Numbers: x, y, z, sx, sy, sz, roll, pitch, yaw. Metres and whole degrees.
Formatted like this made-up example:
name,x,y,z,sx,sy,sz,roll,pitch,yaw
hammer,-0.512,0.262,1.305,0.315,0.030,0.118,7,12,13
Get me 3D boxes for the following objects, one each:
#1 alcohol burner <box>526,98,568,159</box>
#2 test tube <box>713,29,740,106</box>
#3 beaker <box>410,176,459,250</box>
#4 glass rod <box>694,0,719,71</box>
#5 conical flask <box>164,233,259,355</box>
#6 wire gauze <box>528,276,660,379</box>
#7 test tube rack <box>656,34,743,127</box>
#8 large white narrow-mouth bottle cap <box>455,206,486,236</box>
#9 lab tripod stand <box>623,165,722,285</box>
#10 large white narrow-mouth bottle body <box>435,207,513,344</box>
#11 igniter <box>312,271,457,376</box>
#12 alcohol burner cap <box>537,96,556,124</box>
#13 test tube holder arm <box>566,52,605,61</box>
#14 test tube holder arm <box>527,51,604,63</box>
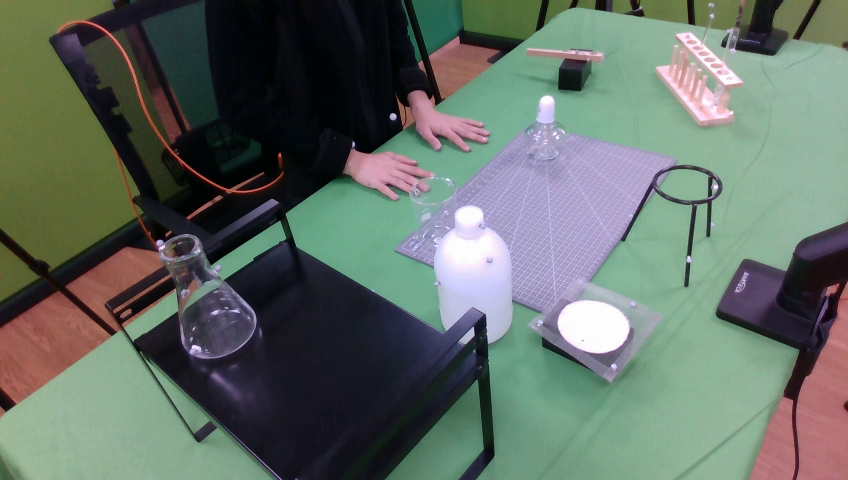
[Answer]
name,x,y,z,sx,sy,sz,roll,pitch,yaw
alcohol burner,0.228,-0.210,1.118,0.078,0.119,0.077,-5,43,5
test tube,0.572,-0.324,1.147,0.017,0.151,0.017,-3,37,2
beaker,0.022,-0.041,0.964,0.073,0.101,0.084,28,51,35
glass rod,0.561,-0.401,1.214,0.008,0.200,0.008,-1,49,2
conical flask,-0.216,0.051,0.601,0.075,0.122,0.075,-4,40,4
wire gauze,0.214,0.103,0.763,0.124,0.011,0.122,30,52,35
test tube rack,0.553,-0.330,1.233,0.067,0.085,0.241,-7,40,2
large white narrow-mouth bottle cap,0.057,-0.023,0.734,0.038,0.024,0.037,-4,40,4
lab tripod stand,0.365,-0.030,0.875,0.148,0.132,0.147,-6,41,6
large white narrow-mouth bottle body,0.065,0.041,0.791,0.102,0.195,0.101,-4,41,4
igniter,-0.068,0.111,0.859,0.274,0.025,0.057,27,61,34
alcohol burner cap,0.223,-0.238,1.095,0.034,0.048,0.033,-2,37,2
test tube holder arm,0.352,-0.401,1.325,0.087,0.015,0.010,15,38,31
test tube holder arm,0.311,-0.408,1.344,0.177,0.015,0.013,14,38,30
